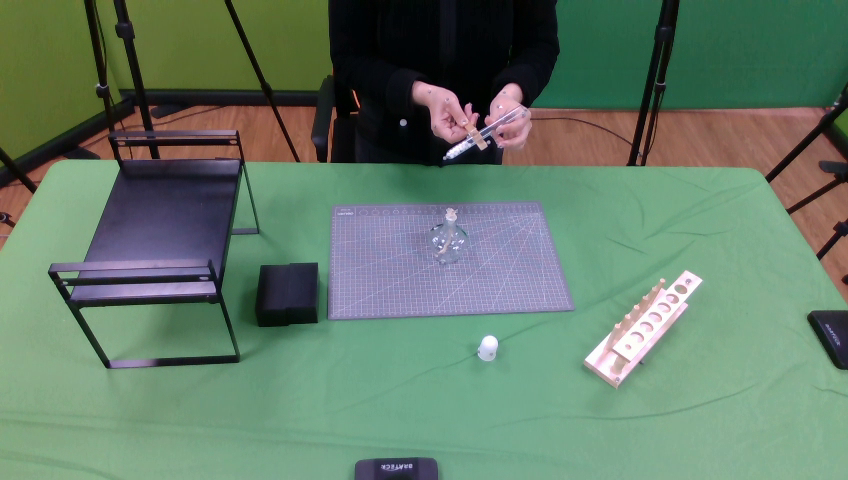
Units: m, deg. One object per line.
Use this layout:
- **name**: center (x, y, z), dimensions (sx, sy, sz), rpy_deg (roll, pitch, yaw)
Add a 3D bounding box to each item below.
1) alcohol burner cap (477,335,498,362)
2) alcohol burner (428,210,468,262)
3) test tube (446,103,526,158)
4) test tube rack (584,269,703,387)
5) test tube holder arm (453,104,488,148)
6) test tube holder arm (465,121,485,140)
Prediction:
- **alcohol burner cap**: center (0.108, 0.179, 1.017), dimensions (0.034, 0.048, 0.033), rpy_deg (3, 51, -4)
- **alcohol burner**: center (0.048, -0.014, 1.146), dimensions (0.078, 0.119, 0.077), rpy_deg (3, 48, -3)
- **test tube**: center (0.101, -0.180, 1.002), dimensions (0.150, 0.017, 0.017), rpy_deg (-31, 49, 9)
- **test tube rack**: center (0.381, 0.139, 1.046), dimensions (0.066, 0.085, 0.242), rpy_deg (37, 54, 28)
- **test tube holder arm**: center (0.078, -0.203, 1.061), dimensions (0.015, 0.013, 0.177), rpy_deg (-24, 34, 2)
- **test tube holder arm**: center (0.084, -0.186, 1.020), dimensions (0.015, 0.010, 0.087), rpy_deg (-25, 25, 2)
